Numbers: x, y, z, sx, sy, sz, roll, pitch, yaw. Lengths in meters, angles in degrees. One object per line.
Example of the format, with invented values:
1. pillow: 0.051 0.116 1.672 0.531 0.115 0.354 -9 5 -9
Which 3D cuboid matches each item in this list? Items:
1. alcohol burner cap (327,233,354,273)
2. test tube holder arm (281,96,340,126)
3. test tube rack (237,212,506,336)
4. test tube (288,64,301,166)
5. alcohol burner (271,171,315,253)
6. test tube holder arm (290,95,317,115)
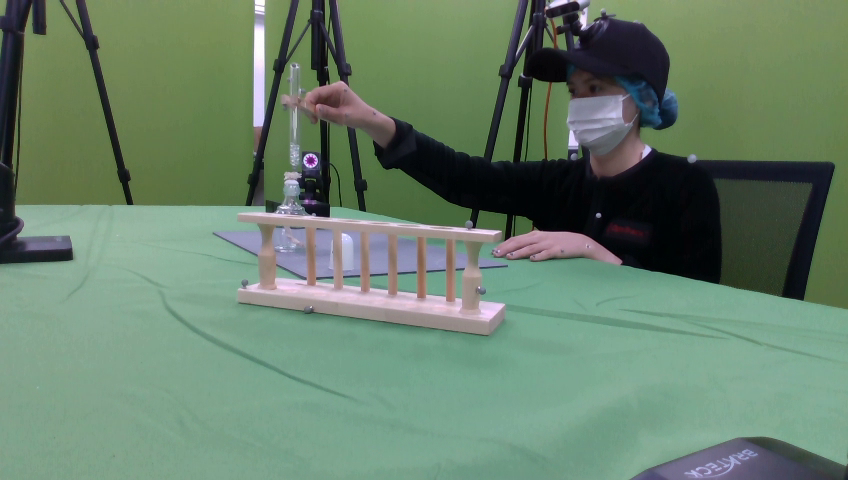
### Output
1. alcohol burner cap: -0.104 0.016 0.751 0.034 0.048 0.034 3 6 0
2. test tube holder arm: -0.174 -0.202 0.951 0.013 0.015 0.179 2 1 16
3. test tube rack: -0.049 0.024 0.552 0.242 0.085 0.067 5 8 18
4. test tube: -0.189 -0.183 0.883 0.017 0.150 0.017 0 -3 0
5. alcohol burner: -0.196 -0.041 0.884 0.078 0.119 0.078 3 5 0
6. test tube holder arm: -0.179 -0.201 0.906 0.010 0.015 0.088 2 1 9
